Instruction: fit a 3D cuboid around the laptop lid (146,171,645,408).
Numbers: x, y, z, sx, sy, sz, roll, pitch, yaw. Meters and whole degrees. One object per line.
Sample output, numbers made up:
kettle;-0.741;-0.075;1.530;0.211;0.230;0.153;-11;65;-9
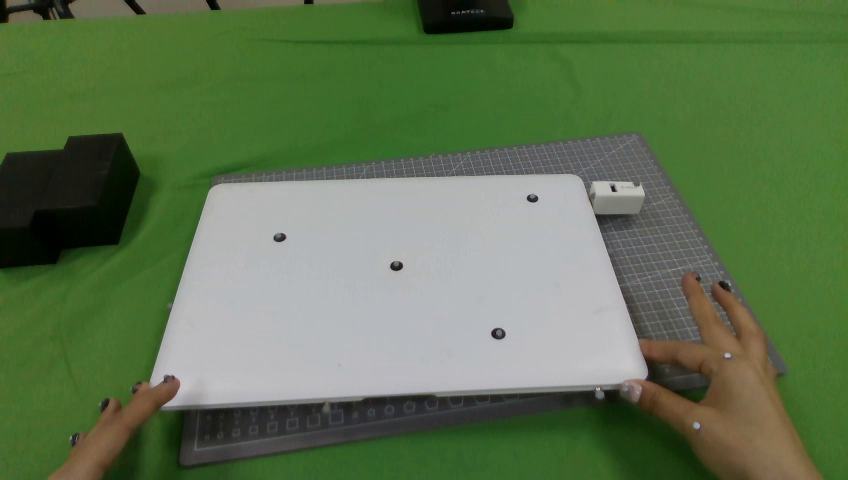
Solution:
laptop lid;-0.023;0.024;0.496;0.357;0.013;0.239;-1;46;0

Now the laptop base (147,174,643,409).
laptop base;-0.023;0.031;0.507;0.354;0.023;0.233;-2;48;-1

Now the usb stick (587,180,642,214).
usb stick;0.168;-0.039;0.559;0.059;0.027;0.021;-2;45;1
